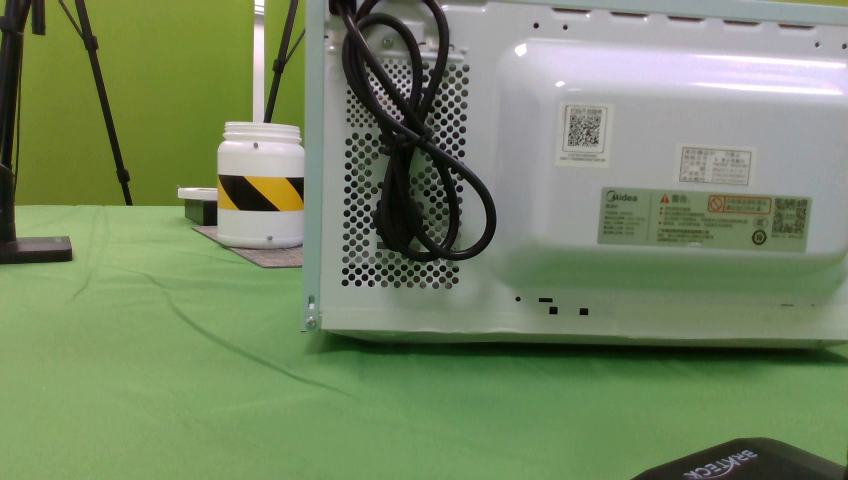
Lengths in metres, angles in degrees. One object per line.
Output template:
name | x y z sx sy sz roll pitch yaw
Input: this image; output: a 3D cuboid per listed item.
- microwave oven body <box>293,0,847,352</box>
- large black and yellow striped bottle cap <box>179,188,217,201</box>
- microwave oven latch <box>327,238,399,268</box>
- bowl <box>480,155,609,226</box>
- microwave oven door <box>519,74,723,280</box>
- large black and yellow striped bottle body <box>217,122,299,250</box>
microwave oven body | 0.122 -0.055 0.550 0.442 0.260 0.325 3 7 -5
large black and yellow striped bottle cap | -0.434 -0.093 1.226 0.115 0.019 0.115 3 9 0
microwave oven latch | -0.069 0.015 0.694 0.079 0.029 0.030 3 7 -3
bowl | 0.139 -0.058 0.719 0.151 0.077 0.151 3 5 0
microwave oven door | 0.255 -0.094 0.863 0.039 0.243 0.354 -1 8 -25
large black and yellow striped bottle body | -0.250 -0.084 0.931 0.131 0.184 0.130 2 7 0
